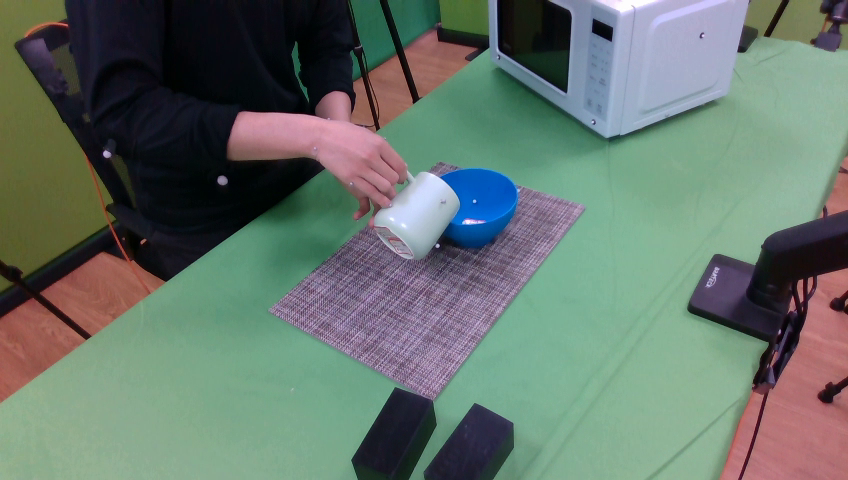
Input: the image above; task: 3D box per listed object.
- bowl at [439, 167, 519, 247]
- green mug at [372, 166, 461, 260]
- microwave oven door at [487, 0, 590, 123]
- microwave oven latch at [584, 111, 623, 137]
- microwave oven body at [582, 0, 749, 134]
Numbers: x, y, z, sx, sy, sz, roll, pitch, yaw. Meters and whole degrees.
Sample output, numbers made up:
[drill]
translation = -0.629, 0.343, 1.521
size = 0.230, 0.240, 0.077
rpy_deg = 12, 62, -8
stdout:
[bowl]
translation = 0.076, -0.041, 0.959
size = 0.151, 0.077, 0.150
rpy_deg = -4, 40, 4
[green mug]
translation = -0.021, -0.045, 0.848
size = 0.105, 0.126, 0.092
rpy_deg = -50, 24, -18
[microwave oven door]
translation = 0.232, -0.420, 1.231
size = 0.039, 0.245, 0.352
rpy_deg = -22, 43, -16
[microwave oven latch]
translation = 0.337, -0.222, 1.142
size = 0.030, 0.029, 0.078
rpy_deg = -21, 42, -14
[microwave oven body]
translation = 0.382, -0.445, 1.246
size = 0.327, 0.261, 0.437
rpy_deg = -22, 42, -16
